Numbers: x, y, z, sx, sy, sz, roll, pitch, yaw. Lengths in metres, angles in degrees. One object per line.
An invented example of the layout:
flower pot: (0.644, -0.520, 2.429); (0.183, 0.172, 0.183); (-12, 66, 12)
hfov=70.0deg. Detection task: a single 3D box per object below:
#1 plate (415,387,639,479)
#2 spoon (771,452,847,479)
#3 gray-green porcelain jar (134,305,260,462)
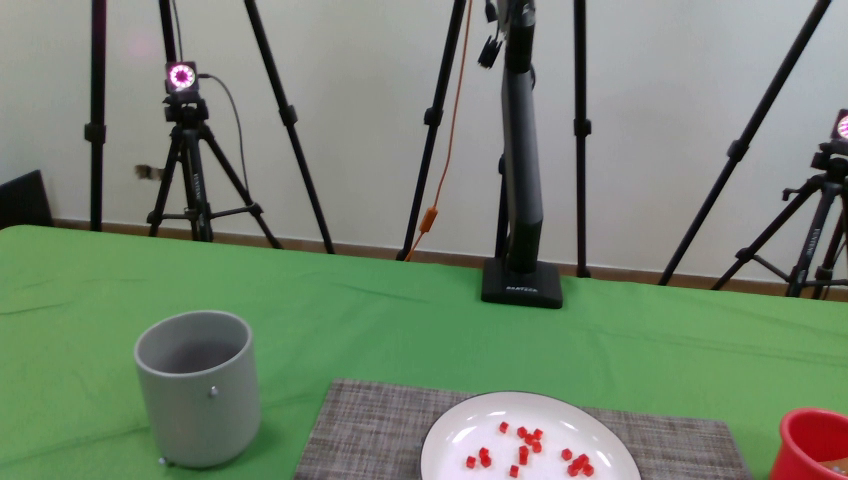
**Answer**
plate: (0.094, 0.223, 0.574); (0.208, 0.039, 0.206); (3, 27, -1)
spoon: (0.420, 0.192, 0.558); (0.194, 0.022, 0.041); (-36, 16, 24)
gray-green porcelain jar: (-0.220, 0.146, 0.602); (0.106, 0.127, 0.105); (3, 28, -1)
